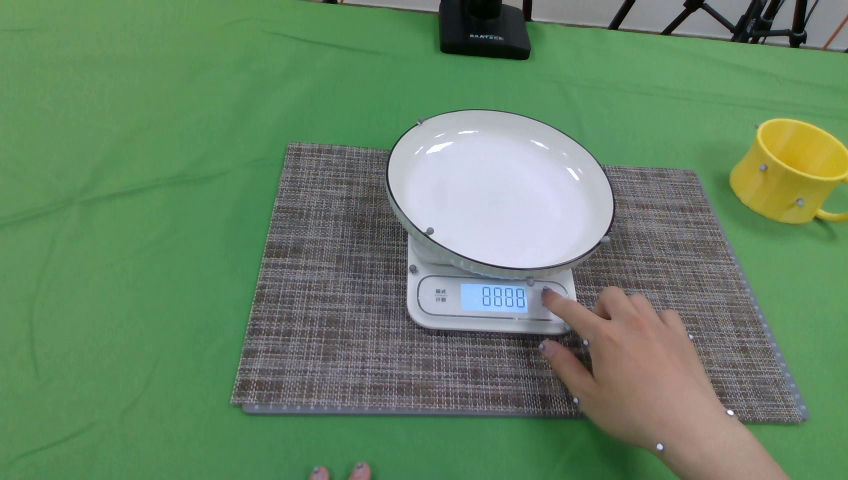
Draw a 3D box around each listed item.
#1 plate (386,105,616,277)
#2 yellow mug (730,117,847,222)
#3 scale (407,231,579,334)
[{"bbox_3d":[0.068,-0.046,0.554,0.209,0.038,0.207,4,49,-5],"label":"plate"},{"bbox_3d":[0.406,-0.068,0.648,0.100,0.064,0.130,-35,62,-31],"label":"yellow mug"},{"bbox_3d":[0.060,-0.006,0.563,0.149,0.032,0.199,4,49,-5],"label":"scale"}]
